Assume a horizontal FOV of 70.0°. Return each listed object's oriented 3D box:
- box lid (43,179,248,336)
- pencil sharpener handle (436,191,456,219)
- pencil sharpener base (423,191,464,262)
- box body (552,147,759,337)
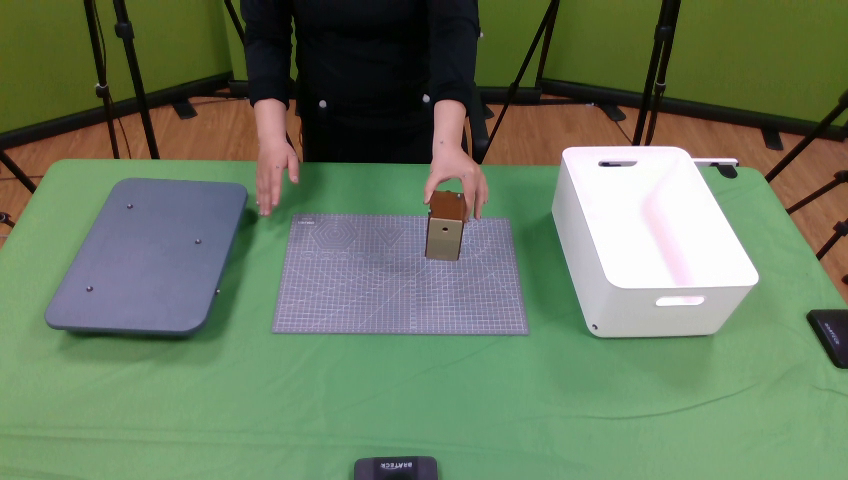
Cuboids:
[{"bbox_3d":[-0.484,0.017,1.093,0.263,0.015,0.369,2,46,-2],"label":"box lid"},{"bbox_3d":[0.037,-0.070,1.081,0.036,0.068,0.030,11,46,-5],"label":"pencil sharpener handle"},{"bbox_3d":[0.034,-0.024,1.055,0.061,0.107,0.076,5,46,1],"label":"pencil sharpener base"},{"bbox_3d":[0.400,-0.001,1.131,0.254,0.161,0.361,-1,46,-5],"label":"box body"}]
